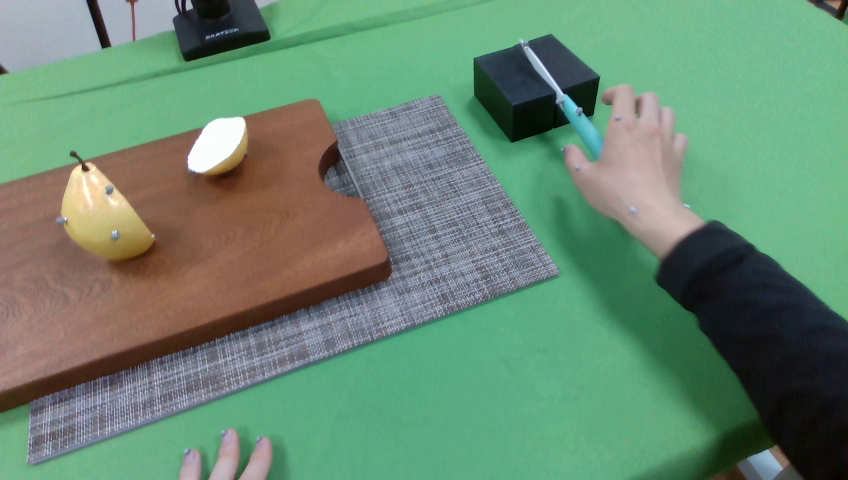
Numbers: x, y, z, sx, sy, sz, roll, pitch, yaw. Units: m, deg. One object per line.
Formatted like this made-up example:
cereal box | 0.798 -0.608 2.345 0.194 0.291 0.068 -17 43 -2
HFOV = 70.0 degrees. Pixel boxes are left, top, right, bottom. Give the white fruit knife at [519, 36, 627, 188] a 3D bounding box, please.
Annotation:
white fruit knife | 0.149 -0.140 0.629 0.016 0.027 0.205 -27 68 -6

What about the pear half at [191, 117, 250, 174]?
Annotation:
pear half | -0.202 -0.093 0.617 0.070 0.031 0.087 -29 37 1

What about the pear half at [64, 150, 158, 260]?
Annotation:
pear half | -0.280 -0.028 0.518 0.075 0.111 0.056 26 57 30
